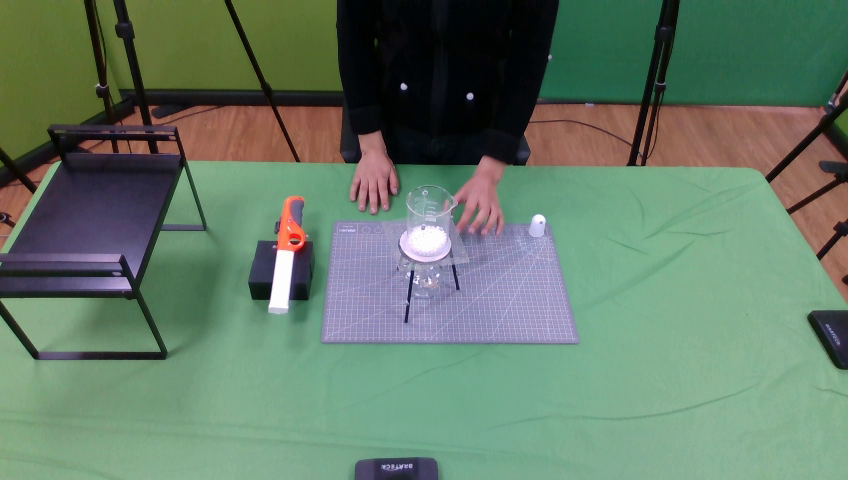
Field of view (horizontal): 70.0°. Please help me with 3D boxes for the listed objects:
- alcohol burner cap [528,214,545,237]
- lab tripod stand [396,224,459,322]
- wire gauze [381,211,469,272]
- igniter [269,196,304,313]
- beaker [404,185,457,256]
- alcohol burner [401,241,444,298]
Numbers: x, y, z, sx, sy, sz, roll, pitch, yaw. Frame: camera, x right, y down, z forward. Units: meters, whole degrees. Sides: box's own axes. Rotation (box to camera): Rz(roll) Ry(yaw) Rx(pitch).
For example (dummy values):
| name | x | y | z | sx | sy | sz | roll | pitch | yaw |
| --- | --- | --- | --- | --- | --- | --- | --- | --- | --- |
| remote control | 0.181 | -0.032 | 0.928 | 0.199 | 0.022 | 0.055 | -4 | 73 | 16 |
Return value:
| name | x | y | z | sx | sy | sz | roll | pitch | yaw |
| --- | --- | --- | --- | --- | --- | --- | --- | --- | --- |
| alcohol burner cap | 0.231 | -0.032 | 1.230 | 0.034 | 0.048 | 0.033 | 2 | 46 | -1 |
| lab tripod stand | -0.004 | 0.052 | 1.066 | 0.148 | 0.132 | 0.147 | 3 | 48 | -3 |
| wire gauze | 0.000 | 0.001 | 1.024 | 0.125 | 0.011 | 0.120 | -11 | 48 | -12 |
| igniter | -0.249 | 0.016 | 1.095 | 0.057 | 0.025 | 0.274 | 8 | 46 | -13 |
| beaker | 0.009 | -0.029 | 0.987 | 0.084 | 0.101 | 0.073 | -1 | 47 | -5 |
| alcohol burner | -0.001 | 0.048 | 1.084 | 0.078 | 0.119 | 0.077 | 2 | 44 | -2 |
